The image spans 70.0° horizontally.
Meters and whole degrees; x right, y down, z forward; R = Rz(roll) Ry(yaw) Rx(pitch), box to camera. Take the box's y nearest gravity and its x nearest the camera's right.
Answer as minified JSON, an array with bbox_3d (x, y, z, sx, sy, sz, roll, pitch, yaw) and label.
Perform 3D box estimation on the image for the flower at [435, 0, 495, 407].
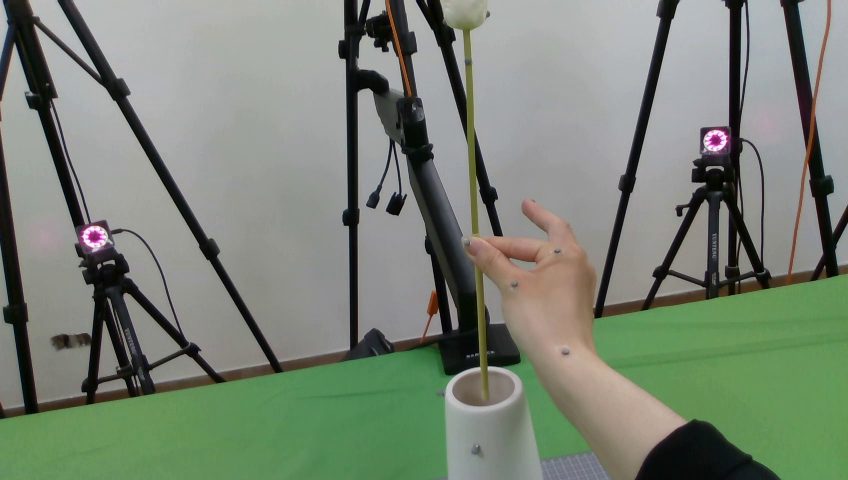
[{"bbox_3d":[0.041,-0.039,0.484,0.038,0.362,0.044,-7,7,-14],"label":"flower"}]

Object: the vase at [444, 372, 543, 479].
[{"bbox_3d":[0.066,0.224,0.563,0.098,0.201,0.097,-8,18,3],"label":"vase"}]
